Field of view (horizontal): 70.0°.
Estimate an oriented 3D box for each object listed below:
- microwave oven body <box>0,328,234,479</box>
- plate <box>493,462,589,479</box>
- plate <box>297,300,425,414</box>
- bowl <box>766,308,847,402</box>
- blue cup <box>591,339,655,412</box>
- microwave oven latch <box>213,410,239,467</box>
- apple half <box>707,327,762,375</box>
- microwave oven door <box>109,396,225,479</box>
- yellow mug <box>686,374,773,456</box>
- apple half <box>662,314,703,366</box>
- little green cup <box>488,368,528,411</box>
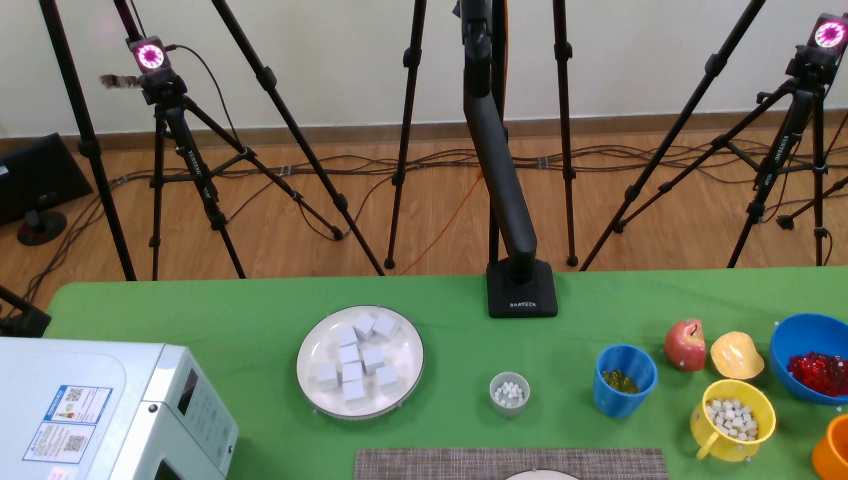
[{"bbox_3d":[-0.463,0.356,0.715,0.326,0.262,0.437,2,50,4],"label":"microwave oven body"},{"bbox_3d":[0.159,0.398,0.790,0.209,0.038,0.207,-2,49,2],"label":"plate"},{"bbox_3d":[-0.101,0.191,0.990,0.207,0.039,0.205,-2,49,2],"label":"plate"},{"bbox_3d":[0.594,0.188,0.926,0.151,0.077,0.150,-2,50,3],"label":"bowl"},{"bbox_3d":[0.290,0.211,0.909,0.092,0.101,0.091,-1,51,2],"label":"blue cup"},{"bbox_3d":[-0.297,0.290,0.891,0.030,0.030,0.078,4,50,6],"label":"microwave oven latch"},{"bbox_3d":[0.490,0.182,0.967,0.081,0.033,0.080,-5,63,9],"label":"apple half"},{"bbox_3d":[-0.322,0.388,0.672,0.039,0.246,0.352,1,49,5],"label":"microwave oven door"},{"bbox_3d":[0.432,0.263,0.878,0.131,0.064,0.099,-35,56,-22],"label":"yellow mug"},{"bbox_3d":[0.407,0.160,0.964,0.053,0.075,0.080,1,53,10],"label":"apple half"},{"bbox_3d":[0.130,0.234,0.940,0.061,0.039,0.061,-2,48,2],"label":"little green cup"}]
